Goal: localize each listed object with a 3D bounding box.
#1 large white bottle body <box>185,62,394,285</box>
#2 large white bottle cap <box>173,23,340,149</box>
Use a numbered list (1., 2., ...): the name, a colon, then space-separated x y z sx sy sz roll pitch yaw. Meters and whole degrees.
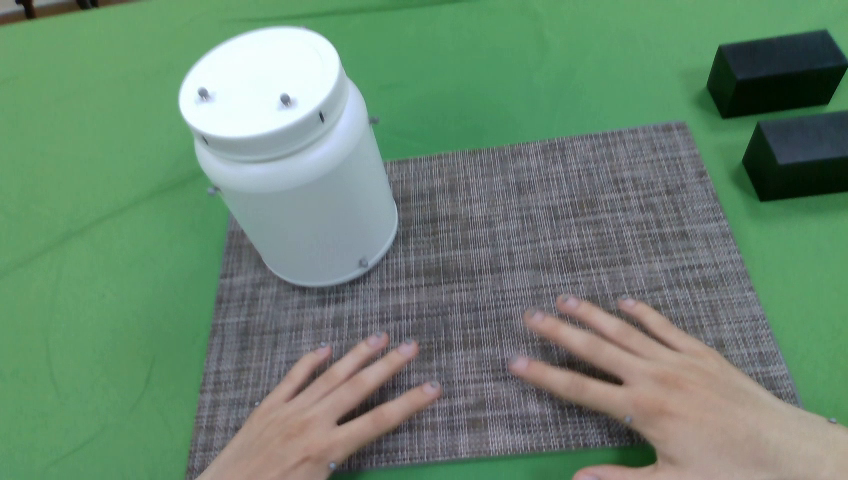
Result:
1. large white bottle body: -0.103 -0.062 0.490 0.130 0.186 0.129 -5 55 7
2. large white bottle cap: -0.116 -0.110 0.422 0.115 0.018 0.113 -4 55 6
